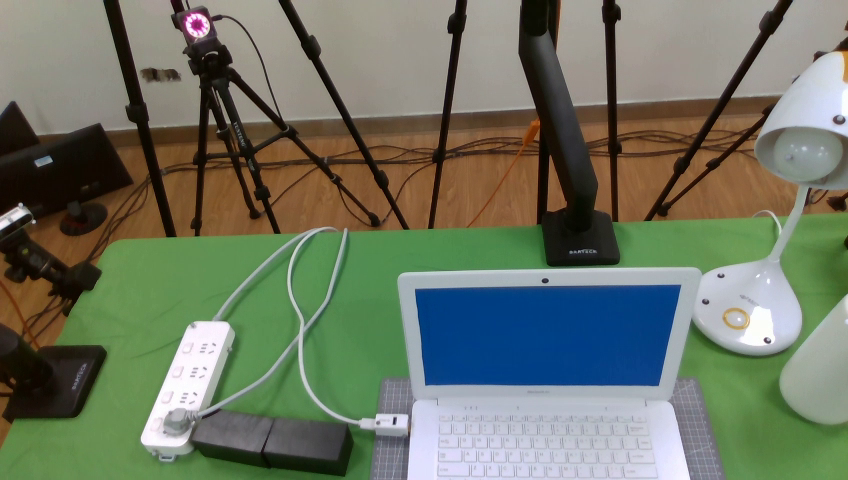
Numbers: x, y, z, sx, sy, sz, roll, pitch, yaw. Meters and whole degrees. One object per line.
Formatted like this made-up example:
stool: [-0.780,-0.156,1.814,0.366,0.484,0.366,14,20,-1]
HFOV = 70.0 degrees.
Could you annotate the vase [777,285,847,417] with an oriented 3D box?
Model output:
vase: [0.516,0.137,0.752,0.098,0.202,0.097,-4,46,5]

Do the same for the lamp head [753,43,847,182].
lamp head: [0.413,-0.133,0.616,0.111,0.113,0.122,23,72,25]

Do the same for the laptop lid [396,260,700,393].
laptop lid: [0.149,0.119,0.770,0.356,0.244,0.013,-3,37,6]

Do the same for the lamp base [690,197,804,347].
lamp base: [0.480,0.033,0.864,0.159,0.182,0.179,26,53,26]

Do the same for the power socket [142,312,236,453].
power socket: [-0.344,0.201,0.899,0.072,0.033,0.224,1,47,6]

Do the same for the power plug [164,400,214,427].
power plug: [-0.323,0.244,0.832,0.072,0.053,0.035,10,50,12]

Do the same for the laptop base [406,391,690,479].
laptop base: [0.153,0.301,0.765,0.354,0.023,0.233,-1,51,5]

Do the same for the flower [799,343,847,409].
flower: [0.526,0.075,0.696,0.038,0.364,0.043,0,36,-17]

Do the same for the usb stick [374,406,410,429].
usb stick: [-0.037,0.241,0.822,0.059,0.027,0.021,3,46,4]
